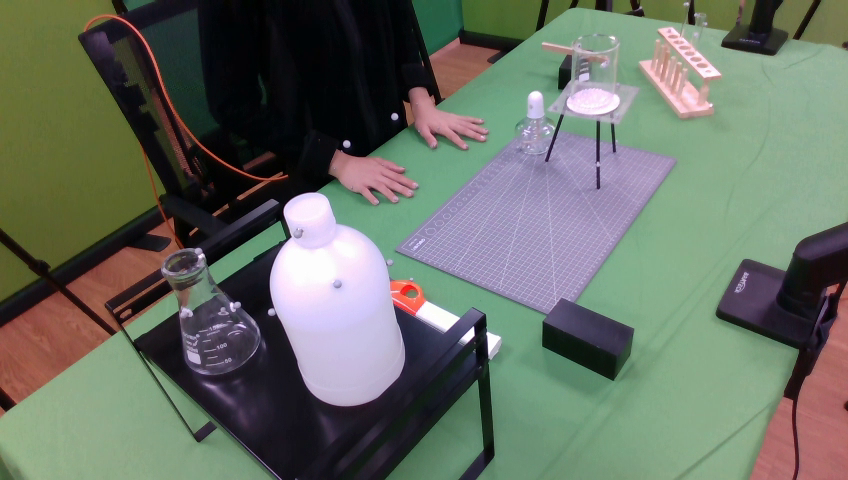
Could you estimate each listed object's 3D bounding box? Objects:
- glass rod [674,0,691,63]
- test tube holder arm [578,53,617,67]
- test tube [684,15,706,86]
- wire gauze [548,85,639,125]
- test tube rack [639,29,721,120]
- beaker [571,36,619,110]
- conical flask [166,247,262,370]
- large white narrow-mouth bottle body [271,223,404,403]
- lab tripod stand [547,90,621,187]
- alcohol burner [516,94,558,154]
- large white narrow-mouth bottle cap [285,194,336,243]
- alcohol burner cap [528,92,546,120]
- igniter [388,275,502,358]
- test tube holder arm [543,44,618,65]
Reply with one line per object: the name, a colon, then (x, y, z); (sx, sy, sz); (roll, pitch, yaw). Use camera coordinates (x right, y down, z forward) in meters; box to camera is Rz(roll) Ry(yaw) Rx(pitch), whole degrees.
glass rod: (0.537, -0.437, 1.257); (0.008, 0.200, 0.008); (0, 39, 1)
test tube holder arm: (0.376, -0.393, 1.314); (0.087, 0.015, 0.010); (26, 51, 32)
test tube: (0.541, -0.378, 1.215); (0.017, 0.151, 0.017); (-2, 44, 3)
wire gauze: (0.286, -0.233, 1.020); (0.124, 0.011, 0.122); (15, 43, 30)
test tube rack: (0.527, -0.351, 1.262); (0.067, 0.085, 0.241); (-8, 40, 1)
beaker: (0.281, -0.273, 0.992); (0.084, 0.101, 0.073); (-24, 42, -16)
conical flask: (-0.208, 0.064, 0.585); (0.075, 0.122, 0.075); (-5, 40, 4)
large white narrow-mouth bottle body: (-0.077, 0.048, 0.525); (0.102, 0.195, 0.101); (-5, 40, 5)
lab tripod stand: (0.289, -0.184, 1.062); (0.148, 0.132, 0.147); (-6, 41, 6)
alcohol burner: (0.212, -0.221, 1.135); (0.078, 0.119, 0.077); (-5, 43, 5)
large white narrow-mouth bottle cap: (-0.087, -0.017, 0.468); (0.038, 0.024, 0.037); (-5, 40, 4)
alcohol burner cap: (0.206, -0.249, 1.112); (0.034, 0.048, 0.033); (-6, 34, 5)
igniter: (-0.009, 0.094, 0.870); (0.274, 0.025, 0.057); (25, 60, 33)
test tube holder arm: (0.344, -0.412, 1.341); (0.177, 0.015, 0.013); (25, 51, 31)
